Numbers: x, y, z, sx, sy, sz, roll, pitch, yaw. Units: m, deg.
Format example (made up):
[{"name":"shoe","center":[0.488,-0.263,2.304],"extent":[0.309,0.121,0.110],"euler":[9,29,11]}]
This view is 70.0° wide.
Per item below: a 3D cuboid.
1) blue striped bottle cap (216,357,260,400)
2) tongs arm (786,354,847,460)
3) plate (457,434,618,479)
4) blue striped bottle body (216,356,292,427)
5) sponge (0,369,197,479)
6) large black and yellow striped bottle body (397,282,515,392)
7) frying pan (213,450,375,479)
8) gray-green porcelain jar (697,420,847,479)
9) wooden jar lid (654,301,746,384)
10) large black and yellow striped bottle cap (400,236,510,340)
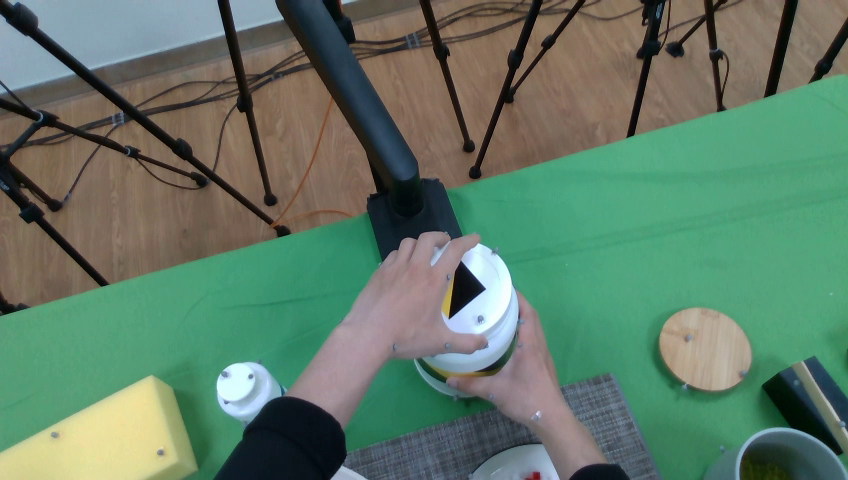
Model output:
[{"name":"blue striped bottle cap","center":[-0.207,0.153,0.671],"extent":[0.044,0.021,0.044],"euler":[-4,59,6]},{"name":"tongs arm","center":[0.497,0.286,0.613],"extent":[0.051,0.027,0.382],"euler":[-20,72,-9]},{"name":"plate","center":[0.125,0.318,0.654],"extent":[0.209,0.038,0.207],"euler":[-2,61,4]},{"name":"blue striped bottle body","center":[-0.202,0.177,0.716],"extent":[0.063,0.122,0.062],"euler":[-2,61,4]},{"name":"sponge","center":[-0.394,0.261,0.721],"extent":[0.207,0.061,0.117],"euler":[-28,63,-11]},{"name":"large black and yellow striped bottle body","center":[0.039,0.091,0.708],"extent":[0.131,0.185,0.129],"euler":[-2,60,4]},{"name":"frying pan","center":[-0.077,0.432,0.571],"extent":[0.307,0.104,0.483],"euler":[-38,56,-14]},{"name":"gray-green porcelain jar","center":[0.349,0.252,0.625],"extent":[0.106,0.127,0.105],"euler":[-2,61,4]},{"name":"wooden jar lid","center":[0.342,0.128,0.755],"extent":[0.108,0.021,0.107],"euler":[-2,63,4]},{"name":"large black and yellow striped bottle cap","center":[0.032,0.048,0.630],"extent":[0.115,0.019,0.114],"euler":[-4,59,6]}]
